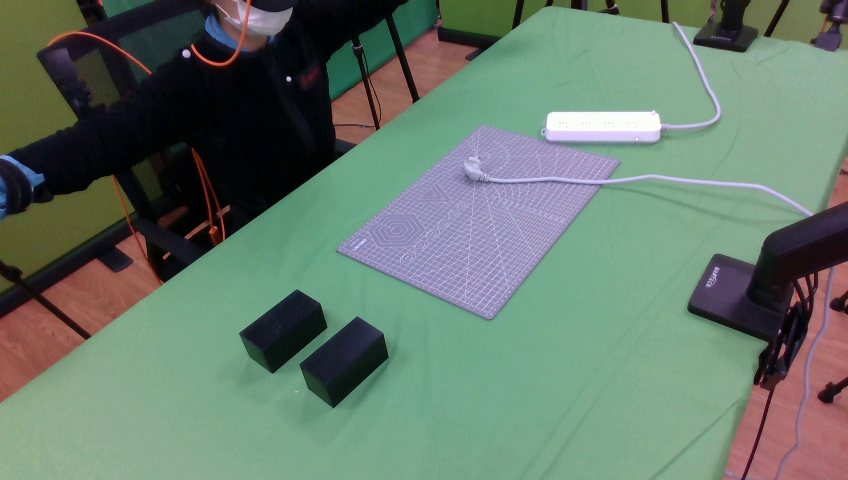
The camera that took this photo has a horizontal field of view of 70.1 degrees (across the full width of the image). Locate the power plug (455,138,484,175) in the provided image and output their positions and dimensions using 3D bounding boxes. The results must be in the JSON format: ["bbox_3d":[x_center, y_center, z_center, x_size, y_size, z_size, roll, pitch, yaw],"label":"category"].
[{"bbox_3d":[0.079,-0.151,1.087,0.052,0.073,0.035,-14,17,46],"label":"power plug"}]

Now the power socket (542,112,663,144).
[{"bbox_3d":[0.342,-0.216,1.164,0.226,0.033,0.072,3,43,12],"label":"power socket"}]
